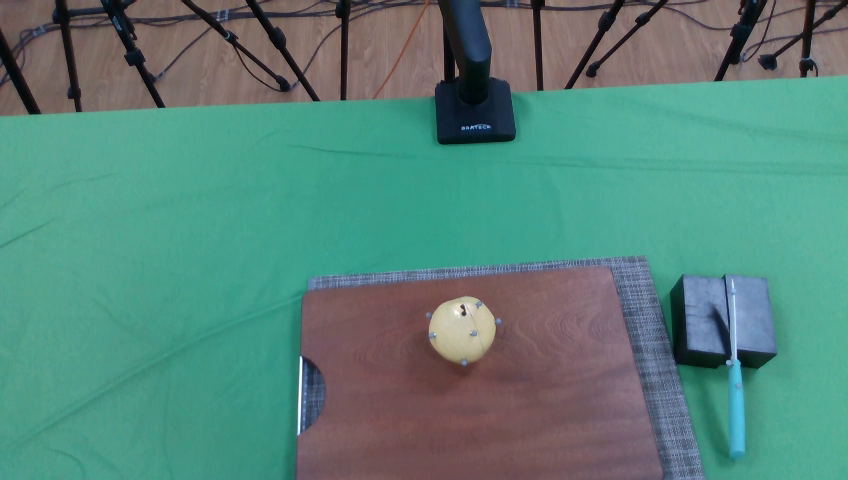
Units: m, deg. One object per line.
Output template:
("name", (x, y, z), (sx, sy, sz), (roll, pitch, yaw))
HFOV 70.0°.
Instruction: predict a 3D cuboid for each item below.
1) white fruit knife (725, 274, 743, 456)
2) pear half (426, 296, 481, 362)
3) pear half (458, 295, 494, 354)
("white fruit knife", (0.351, 0.142, 0.694), (0.016, 0.027, 0.206), (0, 81, 11))
("pear half", (0.030, 0.100, 0.688), (0.056, 0.111, 0.075), (-24, 59, -11))
("pear half", (0.063, 0.092, 0.704), (0.031, 0.089, 0.069), (-24, 57, -11))
